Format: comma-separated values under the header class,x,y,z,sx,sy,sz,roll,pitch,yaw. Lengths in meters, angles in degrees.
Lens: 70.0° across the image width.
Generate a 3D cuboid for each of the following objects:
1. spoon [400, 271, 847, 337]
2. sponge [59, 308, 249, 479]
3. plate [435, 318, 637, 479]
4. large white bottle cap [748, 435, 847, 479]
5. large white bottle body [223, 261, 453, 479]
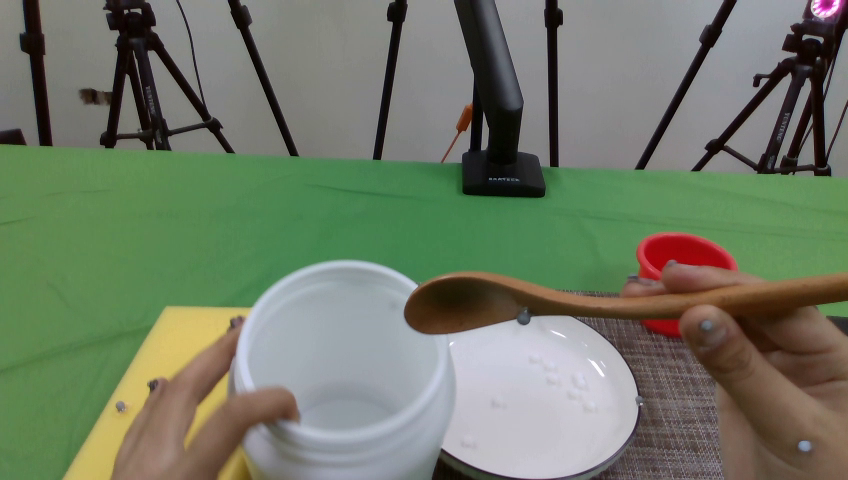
class,x,y,z,sx,sy,sz,roll,pitch,yaw
spoon,0.079,0.026,0.250,0.193,0.042,0.021,-4,46,25
sponge,-0.188,0.144,0.495,0.118,0.061,0.205,0,33,1
plate,0.079,0.135,0.540,0.209,0.038,0.207,2,34,-1
large white bottle cap,0.315,0.203,0.471,0.115,0.018,0.114,3,35,-2
large white bottle body,-0.052,0.110,0.383,0.131,0.186,0.129,4,50,-5
